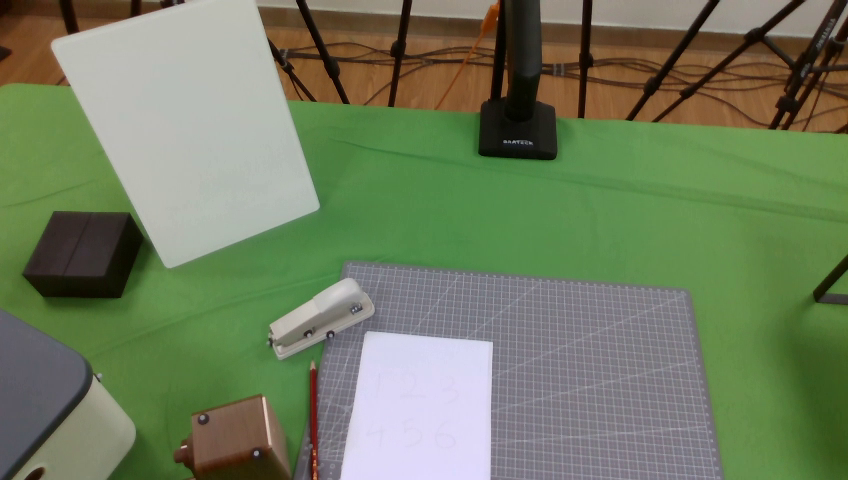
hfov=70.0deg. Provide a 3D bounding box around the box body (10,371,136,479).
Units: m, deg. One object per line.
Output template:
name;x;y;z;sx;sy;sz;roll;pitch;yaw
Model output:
box body;-0.507;0.181;0.582;0.362;0.162;0.253;22;56;15

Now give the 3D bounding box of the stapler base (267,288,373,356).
stapler base;-0.127;0.093;0.737;0.130;0.024;0.041;-26;54;-14

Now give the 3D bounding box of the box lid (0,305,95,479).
box lid;-0.509;0.136;0.522;0.370;0.015;0.262;23;56;14

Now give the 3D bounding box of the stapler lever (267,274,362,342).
stapler lever;-0.130;0.079;0.716;0.118;0.040;0.026;-26;53;-15

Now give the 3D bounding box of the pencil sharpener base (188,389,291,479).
pencil sharpener base;-0.183;0.204;0.604;0.077;0.108;0.060;-14;55;-10

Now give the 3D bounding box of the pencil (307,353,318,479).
pencil;-0.121;0.210;0.659;0.012;0.012;0.192;-7;54;-5

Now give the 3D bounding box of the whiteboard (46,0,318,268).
whiteboard;-0.297;-0.158;0.785;0.217;0.308;0.142;-24;38;-17

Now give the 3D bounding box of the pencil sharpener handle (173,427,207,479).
pencil sharpener handle;-0.230;0.212;0.581;0.031;0.068;0.035;-14;34;-10
